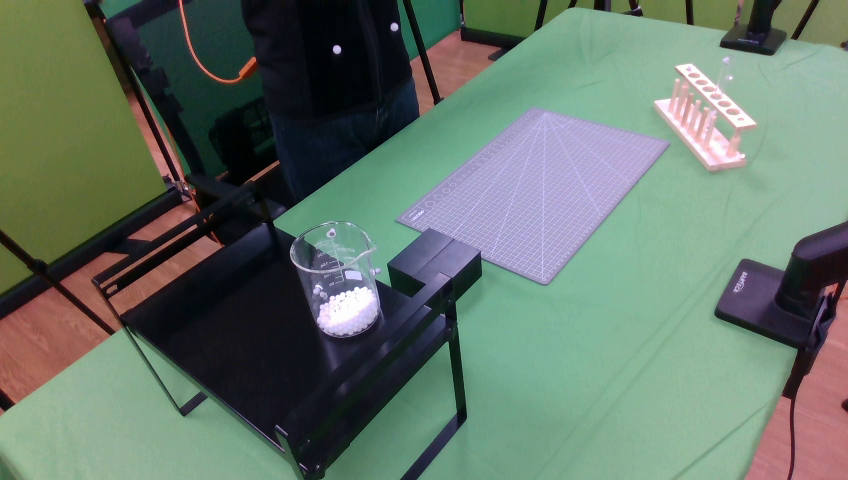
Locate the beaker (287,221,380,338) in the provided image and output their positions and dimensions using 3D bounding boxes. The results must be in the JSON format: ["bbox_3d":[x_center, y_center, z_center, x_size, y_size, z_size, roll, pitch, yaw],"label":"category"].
[{"bbox_3d":[-0.083,0.042,0.602,0.084,0.101,0.073,-5,41,3],"label":"beaker"}]

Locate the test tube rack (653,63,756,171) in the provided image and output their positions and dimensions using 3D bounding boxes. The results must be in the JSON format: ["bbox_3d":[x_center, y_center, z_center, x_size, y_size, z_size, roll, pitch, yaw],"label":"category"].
[{"bbox_3d":[0.510,-0.233,1.120,0.067,0.085,0.241,-9,41,-1],"label":"test tube rack"}]

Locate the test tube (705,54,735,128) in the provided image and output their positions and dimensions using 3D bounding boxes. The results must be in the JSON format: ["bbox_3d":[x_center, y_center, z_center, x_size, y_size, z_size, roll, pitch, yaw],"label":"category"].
[{"bbox_3d":[0.523,-0.260,1.073,0.017,0.151,0.017,-3,47,4],"label":"test tube"}]
